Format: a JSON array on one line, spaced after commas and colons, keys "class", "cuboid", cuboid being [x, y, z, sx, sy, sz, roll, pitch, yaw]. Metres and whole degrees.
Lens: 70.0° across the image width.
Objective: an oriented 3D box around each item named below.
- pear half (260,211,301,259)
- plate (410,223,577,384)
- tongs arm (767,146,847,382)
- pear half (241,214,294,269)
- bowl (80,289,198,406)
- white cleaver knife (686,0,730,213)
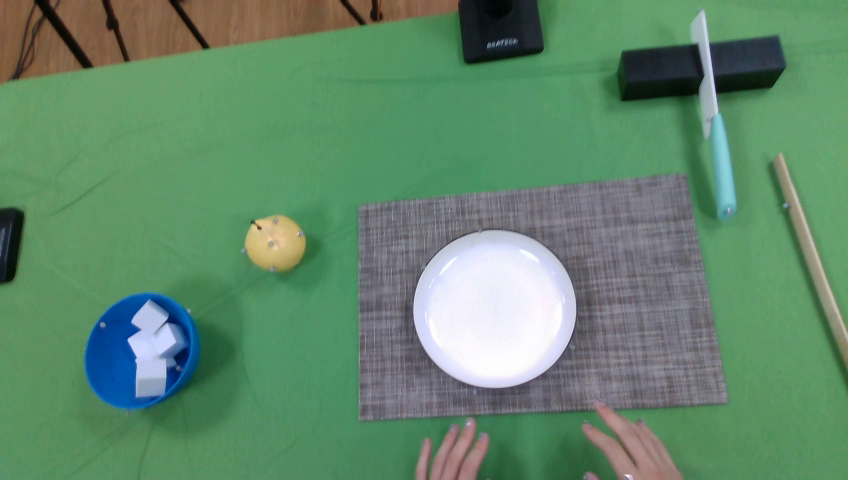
[{"class": "pear half", "cuboid": [-0.188, -0.013, 0.823, 0.031, 0.089, 0.070, -30, 60, -2]}, {"class": "plate", "cuboid": [0.088, 0.081, 0.775, 0.207, 0.039, 0.206, -3, 73, 8]}, {"class": "tongs arm", "cuboid": [0.487, 0.060, 0.730, 0.028, 0.028, 0.385, -12, 72, 4]}, {"class": "pear half", "cuboid": [-0.221, 0.000, 0.812, 0.056, 0.111, 0.075, -31, 60, -3]}, {"class": "bowl", "cuboid": [-0.361, 0.146, 0.805, 0.151, 0.077, 0.150, -2, 72, 8]}, {"class": "white cleaver knife", "cuboid": [0.372, -0.176, 0.796, 0.021, 0.066, 0.285, -4, 82, 12]}]
